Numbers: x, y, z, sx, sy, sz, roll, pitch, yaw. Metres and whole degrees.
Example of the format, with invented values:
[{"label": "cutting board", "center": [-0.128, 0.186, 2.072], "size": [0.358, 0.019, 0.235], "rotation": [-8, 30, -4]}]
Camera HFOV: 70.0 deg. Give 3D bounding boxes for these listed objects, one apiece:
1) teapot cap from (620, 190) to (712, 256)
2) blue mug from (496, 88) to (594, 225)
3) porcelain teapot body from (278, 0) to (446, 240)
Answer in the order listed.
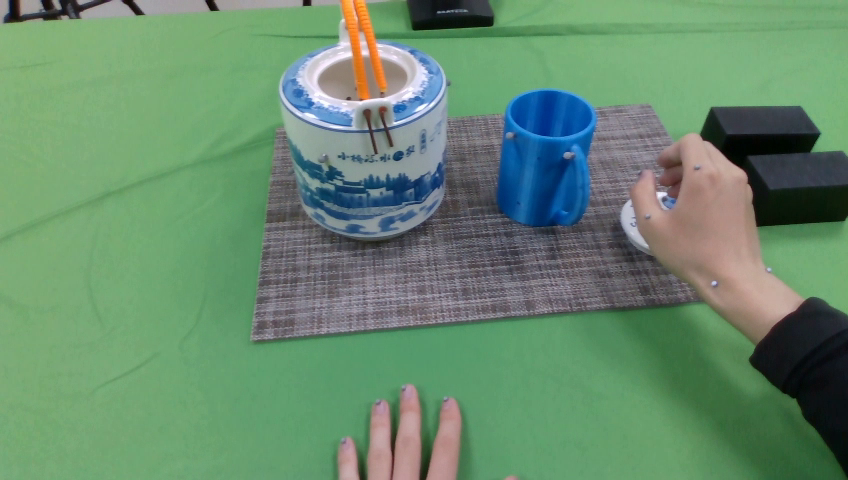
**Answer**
[{"label": "teapot cap", "center": [0.229, -0.022, 0.572], "size": [0.085, 0.044, 0.084], "rotation": [2, 45, -1]}, {"label": "blue mug", "center": [0.120, -0.069, 0.574], "size": [0.082, 0.107, 0.115], "rotation": [-18, 49, -15]}, {"label": "porcelain teapot body", "center": [-0.060, -0.138, 0.558], "size": [0.145, 0.227, 0.203], "rotation": [-10, 47, -9]}]
